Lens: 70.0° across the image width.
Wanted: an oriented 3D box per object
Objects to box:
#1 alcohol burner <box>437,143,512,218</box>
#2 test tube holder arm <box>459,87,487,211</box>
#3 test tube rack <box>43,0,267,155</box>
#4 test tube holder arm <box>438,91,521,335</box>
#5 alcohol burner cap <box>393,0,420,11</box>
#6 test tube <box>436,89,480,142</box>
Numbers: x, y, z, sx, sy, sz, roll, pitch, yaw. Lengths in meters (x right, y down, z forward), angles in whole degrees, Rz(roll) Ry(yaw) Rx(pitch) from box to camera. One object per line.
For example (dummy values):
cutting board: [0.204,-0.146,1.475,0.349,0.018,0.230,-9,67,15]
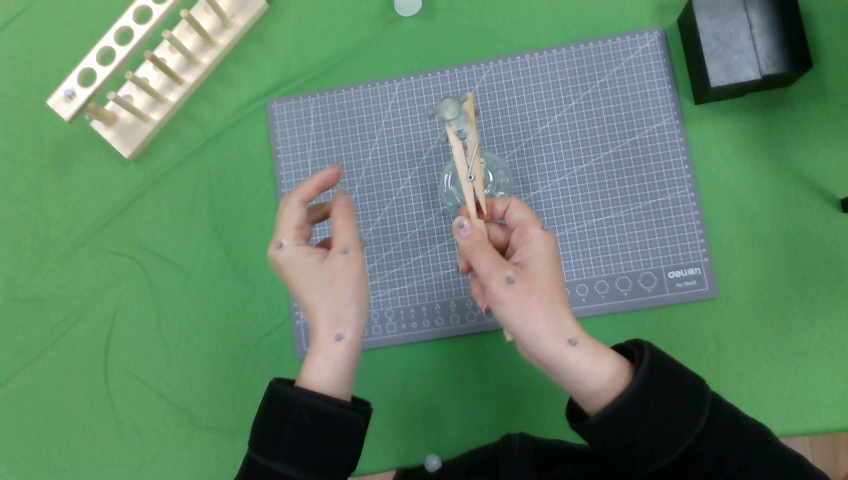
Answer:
alcohol burner: [0.049,-0.064,0.606,0.078,0.119,0.077,-1,81,8]
test tube holder arm: [0.035,-0.064,0.432,0.010,0.015,0.088,-6,90,5]
test tube rack: [-0.292,-0.216,0.672,0.066,0.085,0.242,41,89,9]
test tube holder arm: [0.039,-0.019,0.432,0.013,0.015,0.178,-15,89,6]
alcohol burner cap: [-0.023,-0.283,0.674,0.034,0.048,0.033,-2,78,8]
test tube: [0.027,-0.086,0.438,0.017,0.150,0.017,0,92,10]
